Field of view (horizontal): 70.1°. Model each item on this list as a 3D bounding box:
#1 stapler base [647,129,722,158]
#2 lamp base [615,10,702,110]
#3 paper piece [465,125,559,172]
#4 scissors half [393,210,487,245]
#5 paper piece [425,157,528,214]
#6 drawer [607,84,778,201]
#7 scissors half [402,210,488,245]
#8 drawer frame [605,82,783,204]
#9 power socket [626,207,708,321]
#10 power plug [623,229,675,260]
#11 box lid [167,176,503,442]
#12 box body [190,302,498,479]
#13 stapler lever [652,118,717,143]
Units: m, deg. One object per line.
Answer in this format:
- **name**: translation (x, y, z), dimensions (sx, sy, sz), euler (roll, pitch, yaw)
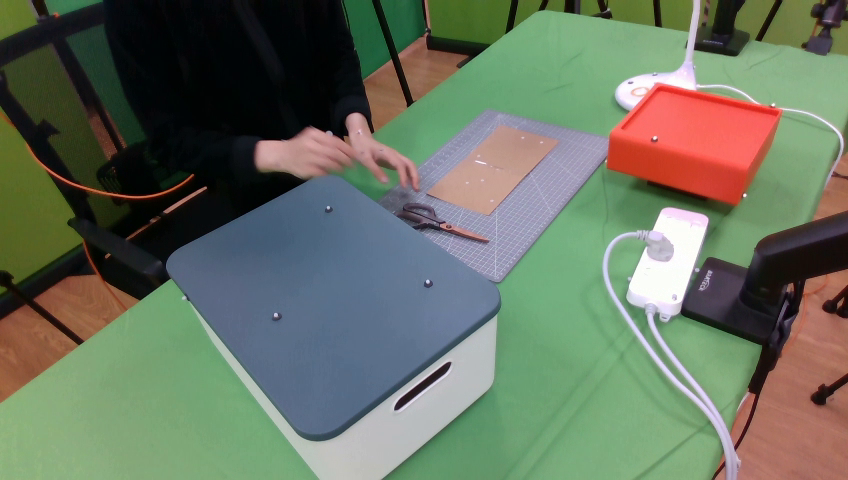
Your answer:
- **stapler base**: translation (0.439, -0.167, 1.023), dimensions (0.131, 0.024, 0.041), euler (-16, 25, -15)
- **lamp base**: translation (0.484, -0.364, 1.211), dimensions (0.180, 0.181, 0.159), euler (-15, 41, -14)
- **paper piece**: translation (0.172, -0.177, 1.167), dimensions (0.137, 0.009, 0.136), euler (21, 44, 30)
- **scissors half**: translation (0.023, -0.019, 0.993), dimensions (0.174, 0.013, 0.040), euler (18, 17, 20)
- **paper piece**: translation (0.095, -0.103, 1.089), dimensions (0.134, 0.004, 0.136), euler (22, 48, 30)
- **drawer**: translation (0.438, -0.167, 0.995), dimensions (0.210, 0.073, 0.195), euler (23, 48, 30)
- **scissors half**: translation (0.034, -0.020, 1.010), dimensions (0.174, 0.013, 0.040), euler (23, 13, 34)
- **drawer frame**: translation (0.441, -0.167, 0.995), dimensions (0.212, 0.083, 0.202), euler (23, 48, 30)
- **power socket**: translation (0.360, 0.026, 0.886), dimensions (0.072, 0.033, 0.227), euler (16, 46, 26)
- **power plug**: translation (0.327, 0.007, 0.878), dimensions (0.072, 0.053, 0.035), euler (25, 51, 32)
- **box lid**: translation (-0.119, 0.046, 0.714), dimensions (0.264, 0.015, 0.368), euler (-33, 47, -27)
- **box body**: translation (-0.110, 0.103, 0.761), dimensions (0.255, 0.161, 0.361), euler (-33, 46, -27)
- **stapler lever**: translation (0.436, -0.192, 1.014), dimensions (0.118, 0.040, 0.026), euler (-15, 25, -16)
